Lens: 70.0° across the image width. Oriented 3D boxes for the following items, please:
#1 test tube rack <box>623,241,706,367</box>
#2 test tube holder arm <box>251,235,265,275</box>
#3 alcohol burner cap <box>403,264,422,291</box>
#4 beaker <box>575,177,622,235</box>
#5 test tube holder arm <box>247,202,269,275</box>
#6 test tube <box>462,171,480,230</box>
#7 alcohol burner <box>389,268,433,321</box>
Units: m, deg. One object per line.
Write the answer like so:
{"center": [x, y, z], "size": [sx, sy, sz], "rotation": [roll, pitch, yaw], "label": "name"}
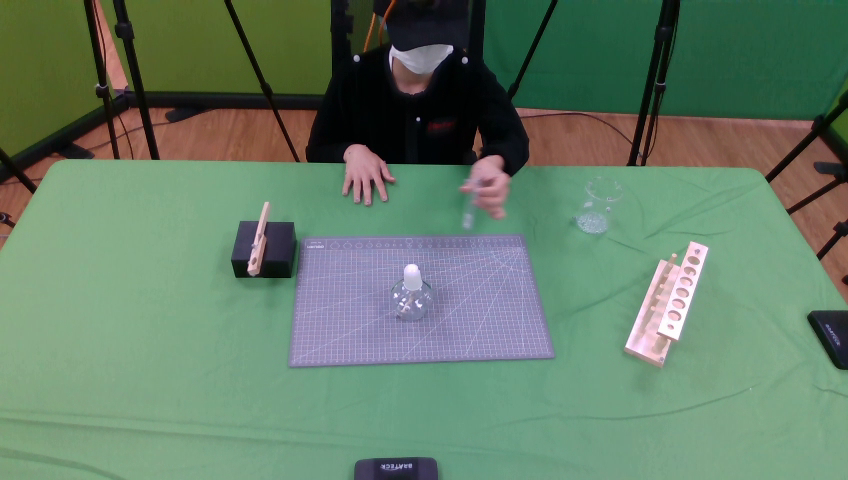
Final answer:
{"center": [0.435, 0.103, 1.089], "size": [0.066, 0.085, 0.242], "rotation": [24, 49, 19], "label": "test tube rack"}
{"center": [-0.297, 0.025, 1.085], "size": [0.010, 0.015, 0.087], "rotation": [-6, 46, 2], "label": "test tube holder arm"}
{"center": [-0.021, 0.060, 1.021], "size": [0.034, 0.048, 0.033], "rotation": [-2, 46, 2], "label": "alcohol burner cap"}
{"center": [0.356, -0.068, 1.240], "size": [0.084, 0.101, 0.073], "rotation": [-18, 50, -21], "label": "beaker"}
{"center": [-0.304, -0.006, 1.116], "size": [0.013, 0.015, 0.177], "rotation": [-6, 46, 2], "label": "test tube holder arm"}
{"center": [0.080, -0.065, 1.045], "size": [0.017, 0.151, 0.017], "rotation": [2, 56, -2], "label": "test tube"}
{"center": [-0.023, 0.085, 1.046], "size": [0.078, 0.119, 0.077], "rotation": [2, 48, -2], "label": "alcohol burner"}
